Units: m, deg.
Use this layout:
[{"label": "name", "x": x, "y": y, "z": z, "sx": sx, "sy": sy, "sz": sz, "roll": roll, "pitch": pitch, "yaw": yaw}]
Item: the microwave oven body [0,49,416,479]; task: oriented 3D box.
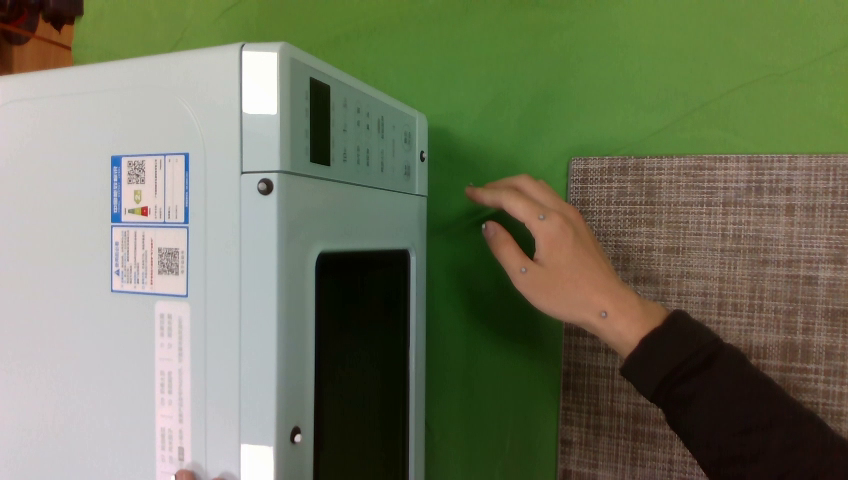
[{"label": "microwave oven body", "x": -0.190, "y": 0.098, "z": 0.536, "sx": 0.325, "sy": 0.261, "sz": 0.441, "roll": 1, "pitch": 91, "yaw": 21}]

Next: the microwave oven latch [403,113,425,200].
[{"label": "microwave oven latch", "x": -0.015, "y": -0.078, "z": 0.568, "sx": 0.030, "sy": 0.029, "sz": 0.079, "roll": 1, "pitch": 92, "yaw": 21}]

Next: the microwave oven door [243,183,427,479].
[{"label": "microwave oven door", "x": -0.057, "y": 0.140, "z": 0.478, "sx": 0.039, "sy": 0.245, "sz": 0.355, "roll": 0, "pitch": 90, "yaw": 22}]
